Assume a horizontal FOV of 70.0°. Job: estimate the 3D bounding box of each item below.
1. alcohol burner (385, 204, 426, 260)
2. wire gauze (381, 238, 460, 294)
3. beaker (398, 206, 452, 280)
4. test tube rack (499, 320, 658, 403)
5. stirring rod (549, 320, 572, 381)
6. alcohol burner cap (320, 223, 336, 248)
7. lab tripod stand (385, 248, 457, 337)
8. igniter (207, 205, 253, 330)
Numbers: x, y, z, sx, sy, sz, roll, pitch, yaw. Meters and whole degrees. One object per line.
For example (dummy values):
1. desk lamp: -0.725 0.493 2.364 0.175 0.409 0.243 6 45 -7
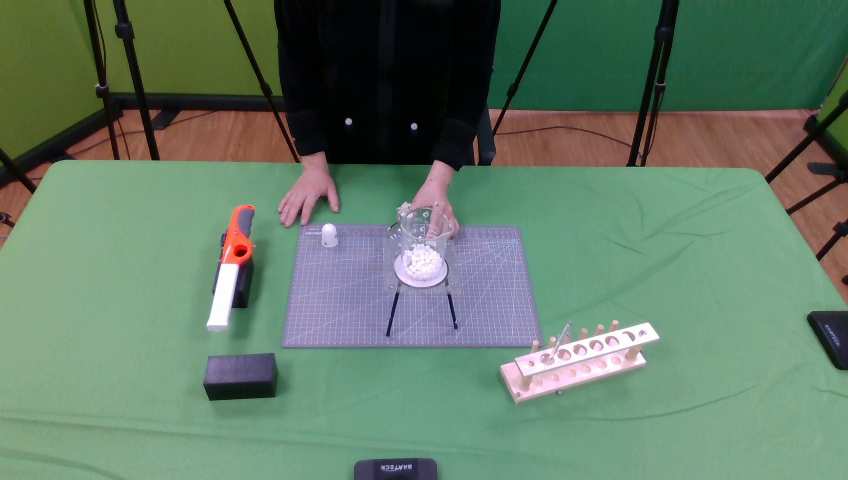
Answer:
1. alcohol burner: -0.035 -0.020 1.147 0.078 0.120 0.077 1 46 -1
2. wire gauze: -0.008 0.042 0.985 0.125 0.011 0.120 -1 43 -2
3. beaker: 0.000 0.008 0.950 0.084 0.101 0.073 10 45 6
4. test tube rack: 0.252 0.187 0.994 0.243 0.085 0.066 -12 48 -15
5. stirring rod: 0.202 0.167 0.901 0.006 0.177 0.014 -17 54 -11
6. alcohol burner cap: -0.188 -0.011 1.176 0.034 0.048 0.033 2 46 -2
7. lab tripod stand: -0.010 0.087 1.032 0.148 0.132 0.147 1 45 -1
8. igniter: -0.339 0.038 1.066 0.057 0.025 0.274 2 48 -6
